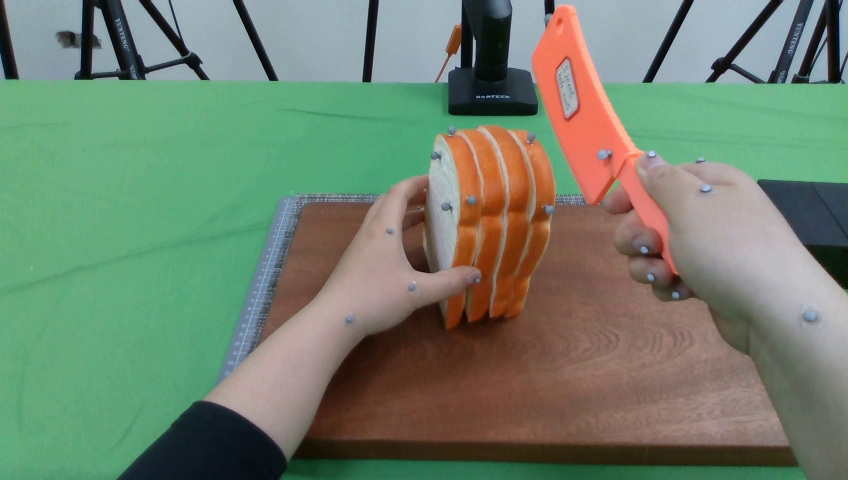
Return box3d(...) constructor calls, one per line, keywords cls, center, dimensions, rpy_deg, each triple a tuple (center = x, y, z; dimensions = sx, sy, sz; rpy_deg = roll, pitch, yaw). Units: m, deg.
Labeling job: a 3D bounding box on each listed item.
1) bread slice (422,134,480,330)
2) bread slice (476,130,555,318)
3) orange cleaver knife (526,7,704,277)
box3d(cls="bread slice", center=(0.020, -0.014, 0.478), dimensions=(0.018, 0.135, 0.106), rpy_deg=(-4, 37, -12))
box3d(cls="bread slice", center=(0.070, -0.018, 0.483), dimensions=(0.019, 0.132, 0.103), rpy_deg=(-1, 42, -15))
box3d(cls="orange cleaver knife", center=(0.105, -0.058, 0.372), dimensions=(0.012, 0.078, 0.209), rpy_deg=(-8, 57, -14))
